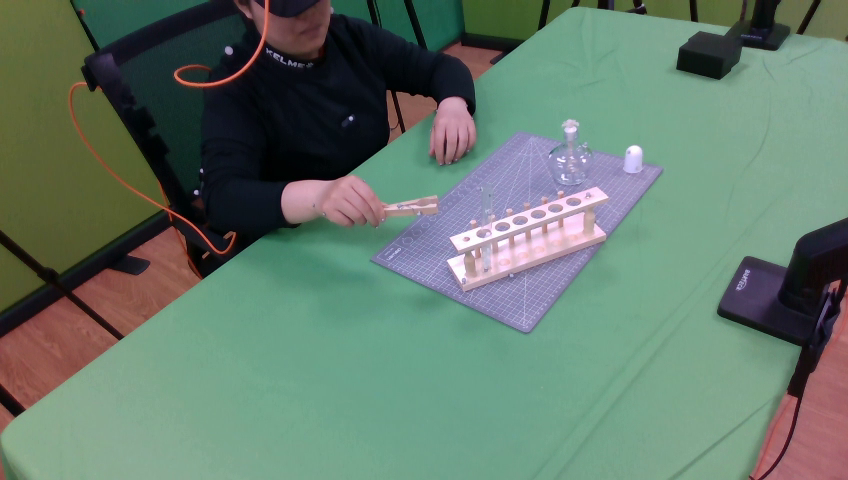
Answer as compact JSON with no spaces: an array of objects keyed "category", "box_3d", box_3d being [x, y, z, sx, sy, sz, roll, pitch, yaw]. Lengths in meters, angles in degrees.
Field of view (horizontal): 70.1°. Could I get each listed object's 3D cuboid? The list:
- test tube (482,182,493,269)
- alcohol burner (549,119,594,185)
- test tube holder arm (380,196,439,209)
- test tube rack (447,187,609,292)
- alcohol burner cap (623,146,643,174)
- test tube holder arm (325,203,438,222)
[{"category":"test tube","box_3d":[0.089,-0.016,0.854,0.017,0.151,0.017,-2,39,2]},{"category":"alcohol burner","box_3d":[0.254,-0.155,1.043,0.078,0.120,0.077,-7,40,6]},{"category":"test tube holder arm","box_3d":[-0.022,-0.050,0.907,0.088,0.015,0.010,-12,35,3]},{"category":"test tube rack","box_3d":[0.155,-0.011,0.913,0.243,0.085,0.066,-19,41,-11]},{"category":"alcohol burner cap","box_3d":[0.369,-0.142,1.061,0.034,0.048,0.033,-7,40,6]},{"category":"test tube holder arm","box_3d":[-0.066,-0.041,0.911,0.178,0.015,0.013,-5,35,14]}]
